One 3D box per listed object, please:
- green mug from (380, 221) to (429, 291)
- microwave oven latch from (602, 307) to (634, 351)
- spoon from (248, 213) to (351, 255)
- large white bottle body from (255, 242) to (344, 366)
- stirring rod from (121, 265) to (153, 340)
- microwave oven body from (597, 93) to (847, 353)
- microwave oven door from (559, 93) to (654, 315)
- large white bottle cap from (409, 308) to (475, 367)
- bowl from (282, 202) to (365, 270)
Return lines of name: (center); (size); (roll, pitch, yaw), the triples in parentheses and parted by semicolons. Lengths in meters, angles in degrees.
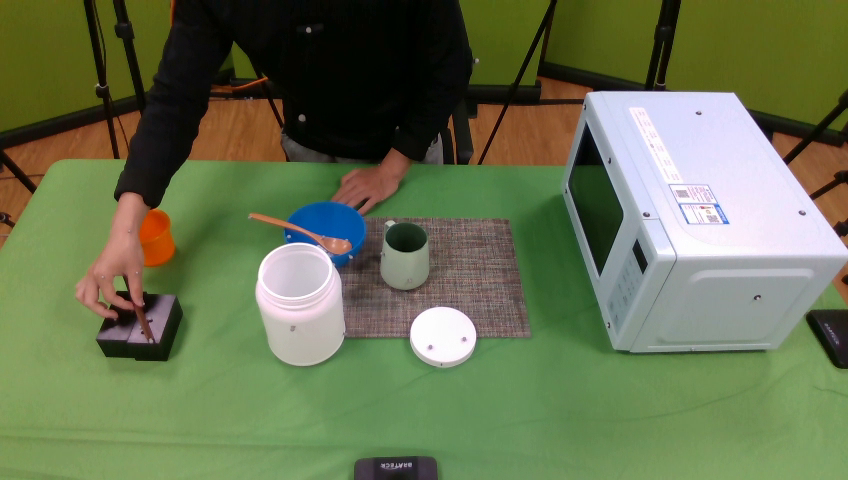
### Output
green mug: (-0.043, 0.020, 1.116); (0.092, 0.105, 0.124); (-20, 50, -21)
microwave oven latch: (0.332, 0.153, 1.043); (0.030, 0.029, 0.078); (0, 45, -4)
spoon: (-0.228, -0.014, 1.113); (0.194, 0.022, 0.041); (23, 40, -15)
large white bottle body: (-0.196, 0.102, 0.967); (0.131, 0.185, 0.130); (2, 49, -2)
stirring rod: (-0.473, 0.100, 0.998); (0.006, 0.014, 0.175); (-43, 54, 5)
microwave oven body: (0.475, -0.041, 1.109); (0.326, 0.261, 0.438); (-1, 45, -4)
microwave oven door: (0.327, -0.074, 1.123); (0.039, 0.245, 0.353); (-1, 46, -5)
large white bottle cap: (0.031, 0.165, 1.041); (0.115, 0.018, 0.114); (2, 47, -2)
bowl: (-0.185, 0.006, 1.137); (0.151, 0.077, 0.150); (3, 46, -3)
